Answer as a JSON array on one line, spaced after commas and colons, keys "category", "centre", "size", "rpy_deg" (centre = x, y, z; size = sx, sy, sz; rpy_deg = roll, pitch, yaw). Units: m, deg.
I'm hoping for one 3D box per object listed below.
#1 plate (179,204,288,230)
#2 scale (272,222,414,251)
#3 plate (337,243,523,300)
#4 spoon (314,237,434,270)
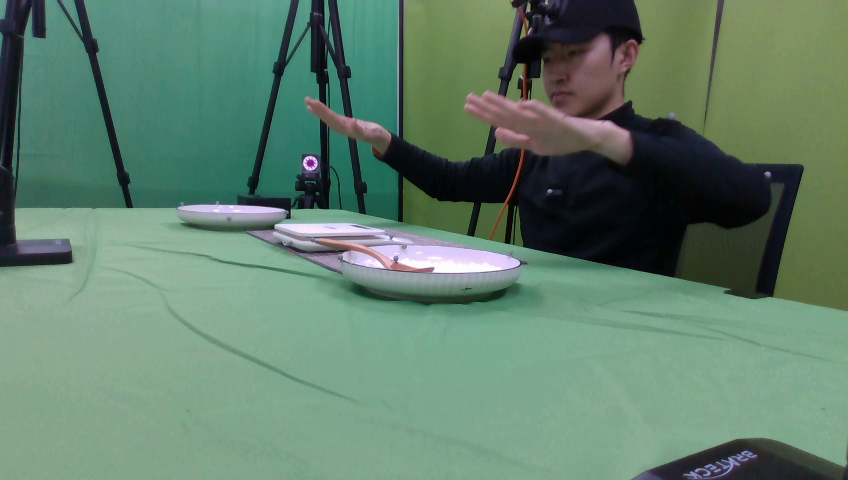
[{"category": "plate", "centre": [-0.382, -0.047, 1.222], "size": [0.208, 0.039, 0.207], "rpy_deg": [2, 8, 0]}, {"category": "scale", "centre": [-0.131, -0.008, 0.984], "size": [0.202, 0.031, 0.148], "rpy_deg": [-2, 8, -32]}, {"category": "plate", "centre": [0.007, 0.035, 0.688], "size": [0.209, 0.038, 0.209], "rpy_deg": [2, 7, 0]}, {"category": "spoon", "centre": [-0.064, 0.015, 0.695], "size": [0.192, 0.021, 0.042], "rpy_deg": [18, 17, 42]}]
